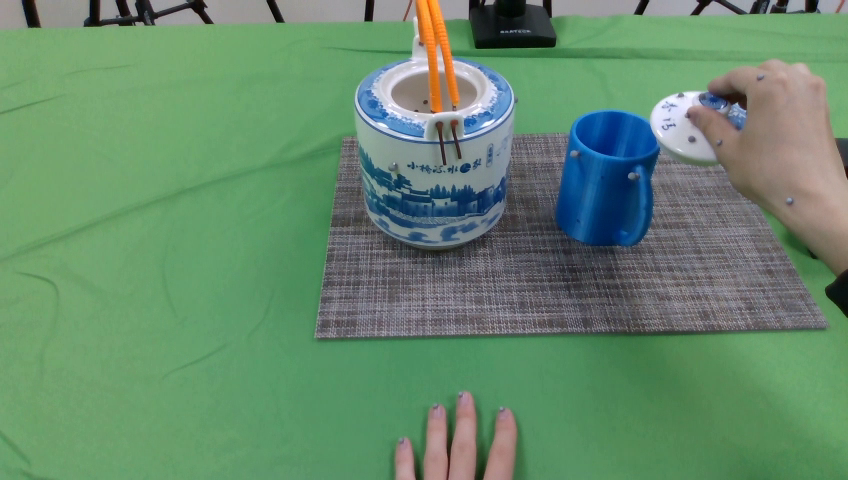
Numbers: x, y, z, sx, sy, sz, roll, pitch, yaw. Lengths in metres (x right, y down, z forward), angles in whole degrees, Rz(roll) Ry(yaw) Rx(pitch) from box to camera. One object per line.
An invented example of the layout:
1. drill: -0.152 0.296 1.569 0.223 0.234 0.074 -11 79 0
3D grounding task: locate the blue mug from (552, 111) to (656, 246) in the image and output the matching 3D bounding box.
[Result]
1. blue mug: 0.178 -0.049 0.580 0.082 0.107 0.115 -13 46 -12

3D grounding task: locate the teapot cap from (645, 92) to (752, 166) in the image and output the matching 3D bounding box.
1. teapot cap: 0.227 -0.098 0.498 0.085 0.044 0.084 0 51 0

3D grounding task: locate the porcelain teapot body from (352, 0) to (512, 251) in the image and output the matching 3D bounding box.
1. porcelain teapot body: 0.003 -0.128 0.577 0.145 0.227 0.203 -7 45 -6
